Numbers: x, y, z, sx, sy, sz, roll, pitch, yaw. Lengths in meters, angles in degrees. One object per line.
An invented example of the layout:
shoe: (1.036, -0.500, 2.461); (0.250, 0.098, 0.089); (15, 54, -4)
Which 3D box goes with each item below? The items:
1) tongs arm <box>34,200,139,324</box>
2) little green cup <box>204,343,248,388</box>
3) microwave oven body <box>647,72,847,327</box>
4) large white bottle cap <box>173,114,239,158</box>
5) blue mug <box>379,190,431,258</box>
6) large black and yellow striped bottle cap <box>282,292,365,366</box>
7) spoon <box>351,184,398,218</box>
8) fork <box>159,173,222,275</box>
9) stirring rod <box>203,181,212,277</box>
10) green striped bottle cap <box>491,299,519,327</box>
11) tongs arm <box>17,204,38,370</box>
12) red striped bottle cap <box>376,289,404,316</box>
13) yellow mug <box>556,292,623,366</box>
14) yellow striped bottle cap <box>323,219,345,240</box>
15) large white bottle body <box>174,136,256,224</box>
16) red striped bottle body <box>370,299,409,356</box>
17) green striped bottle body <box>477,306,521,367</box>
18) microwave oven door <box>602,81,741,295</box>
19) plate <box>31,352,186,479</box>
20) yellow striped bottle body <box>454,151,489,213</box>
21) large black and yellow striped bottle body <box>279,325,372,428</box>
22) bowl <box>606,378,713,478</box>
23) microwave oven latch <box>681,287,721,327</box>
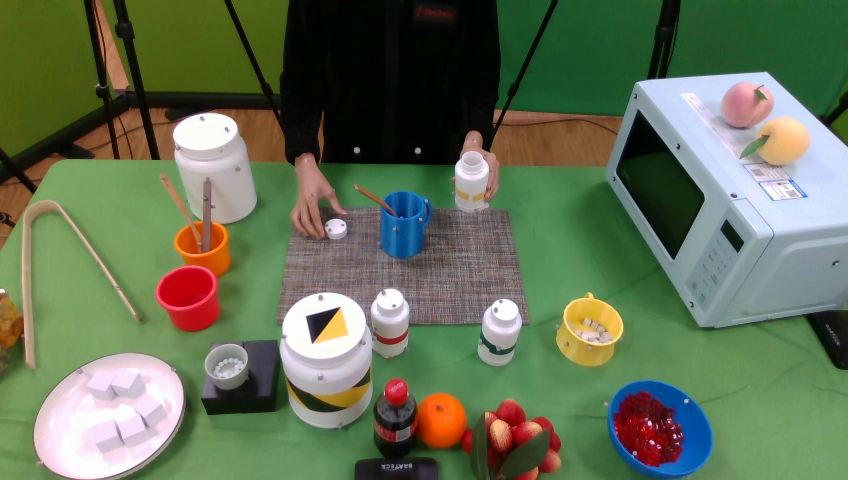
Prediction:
tongs arm: (-0.622, 0.034, 1.105); (0.051, 0.026, 0.382); (-32, 56, -26)
little green cup: (-0.294, 0.190, 0.909); (0.061, 0.039, 0.061); (1, 48, -1)
microwave oven body: (0.607, -0.089, 1.164); (0.326, 0.261, 0.438); (-7, 46, -10)
large white bottle cap: (-0.403, -0.195, 1.122); (0.115, 0.018, 0.114); (2, 47, -2)
blue mug: (-0.032, -0.037, 1.169); (0.116, 0.106, 0.082); (-30, 55, -28)
large black and yellow striped bottle cap: (-0.138, 0.121, 0.841); (0.115, 0.019, 0.114); (3, 47, -3)
spoon: (-0.070, -0.056, 1.124); (0.021, 0.195, 0.041); (-34, 47, 13)
fork: (-0.427, -0.029, 1.103); (0.028, 0.018, 0.207); (-31, 99, -30)
stirring rod: (-0.396, -0.021, 1.108); (0.014, 0.006, 0.176); (-1, 89, -1)
green striped bottle cap: (0.128, 0.115, 0.958); (0.044, 0.020, 0.044); (1, 47, -1)
tongs arm: (-0.698, 0.069, 1.068); (0.028, 0.028, 0.385); (-20, 50, -13)
red striped bottle cap: (-0.054, 0.098, 0.958); (0.044, 0.018, 0.044); (0, 48, 0)
yellow mug: (0.285, 0.145, 1.051); (0.100, 0.064, 0.130); (7, 45, 3)
yellow striped bottle cap: (-0.179, -0.022, 1.205); (0.044, 0.019, 0.044); (3, 47, -3)
large white bottle body: (-0.408, -0.137, 1.183); (0.131, 0.185, 0.130); (2, 46, -2)
red striped bottle body: (-0.058, 0.134, 0.997); (0.063, 0.120, 0.062); (4, 47, -4)
green striped bottle body: (0.124, 0.151, 0.995); (0.063, 0.120, 0.063); (2, 46, -2)
microwave oven door: (0.456, -0.107, 1.162); (0.039, 0.245, 0.353); (-6, 47, -11)
plate: (-0.459, 0.262, 0.898); (0.209, 0.038, 0.208); (2, 46, -2)
yellow striped bottle body: (0.087, -0.111, 1.123); (0.063, 0.121, 0.062); (-1, 55, 1)
large black and yellow striped bottle body: (-0.143, 0.181, 0.900); (0.131, 0.185, 0.130); (2, 46, -2)
bowl: (0.340, 0.292, 0.906); (0.151, 0.077, 0.150); (2, 46, -2)
microwave oven latch: (0.494, 0.119, 1.087); (0.030, 0.029, 0.078); (-5, 46, -9)
